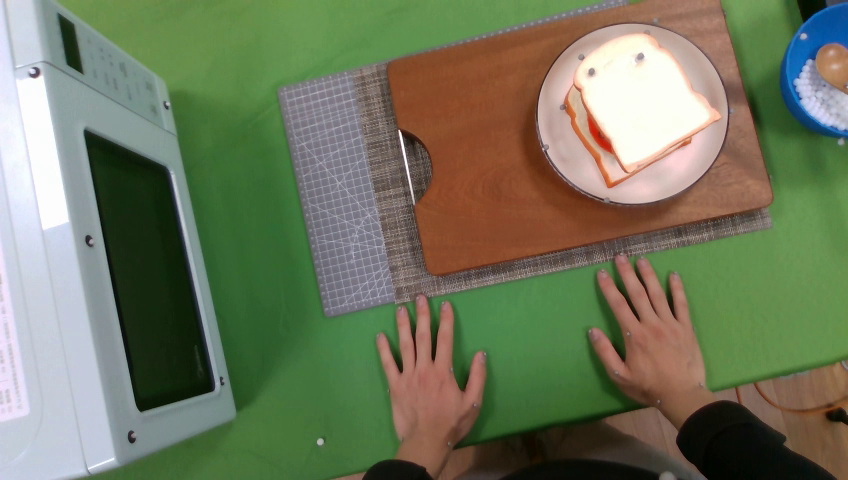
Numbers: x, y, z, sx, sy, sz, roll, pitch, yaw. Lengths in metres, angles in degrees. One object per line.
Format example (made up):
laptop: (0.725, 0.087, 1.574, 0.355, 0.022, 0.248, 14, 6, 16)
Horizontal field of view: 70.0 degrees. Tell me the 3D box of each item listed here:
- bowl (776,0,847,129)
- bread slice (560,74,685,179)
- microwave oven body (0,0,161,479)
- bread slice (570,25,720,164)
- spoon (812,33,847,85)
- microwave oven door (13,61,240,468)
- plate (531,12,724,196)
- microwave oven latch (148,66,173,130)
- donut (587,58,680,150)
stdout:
bowl: (0.459, -0.188, 0.673, 0.151, 0.077, 0.151, 0, 85, 6)
bread slice: (0.217, -0.148, 0.686, 0.105, 0.019, 0.131, -31, 85, 0)
microwave oven body: (-0.442, 0.027, 0.642, 0.326, 0.261, 0.440, -16, 84, 3)
bread slice: (0.216, -0.155, 0.625, 0.107, 0.018, 0.133, -35, 77, 2)
spoon: (0.469, -0.145, 0.638, 0.041, 0.022, 0.192, -15, 61, 2)
microwave oven door: (-0.291, 0.027, 0.623, 0.039, 0.244, 0.354, -16, 83, 4)
plate: (0.224, -0.150, 0.683, 0.207, 0.039, 0.207, -1, 85, 6)
microwave oven latch: (-0.336, -0.172, 0.747, 0.030, 0.029, 0.079, -16, 84, 3)
donut: (0.225, -0.146, 0.653, 0.099, 0.048, 0.099, 0, 88, -1)
